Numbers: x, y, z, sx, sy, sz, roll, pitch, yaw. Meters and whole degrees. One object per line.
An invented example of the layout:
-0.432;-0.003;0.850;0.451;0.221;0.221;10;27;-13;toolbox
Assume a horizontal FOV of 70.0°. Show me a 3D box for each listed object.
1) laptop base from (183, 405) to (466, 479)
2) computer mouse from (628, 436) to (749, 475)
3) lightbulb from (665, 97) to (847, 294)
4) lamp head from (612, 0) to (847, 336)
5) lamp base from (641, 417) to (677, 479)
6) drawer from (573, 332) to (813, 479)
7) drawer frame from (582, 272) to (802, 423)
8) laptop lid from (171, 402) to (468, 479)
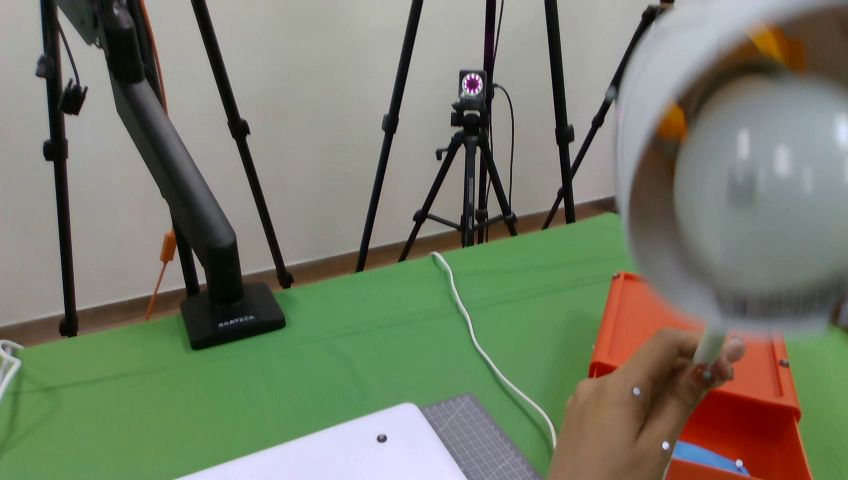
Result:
-0.117;0.265;0.495;0.355;0.023;0.233;-12;33;-25;laptop base
0.248;0.220;0.565;0.117;0.041;0.062;10;27;10;computer mouse
0.110;-0.025;0.211;0.059;0.060;0.107;2;30;4;lightbulb
0.122;-0.039;0.228;0.112;0.113;0.122;3;29;6;lamp head
0.155;0.223;0.403;0.161;0.181;0.178;1;24;-2;lamp base
0.263;0.181;0.612;0.193;0.074;0.211;9;27;18;drawer
0.302;0.133;0.705;0.201;0.083;0.213;10;27;18;drawer frame
-0.116;0.255;0.487;0.358;0.013;0.239;-11;31;-23;laptop lid
